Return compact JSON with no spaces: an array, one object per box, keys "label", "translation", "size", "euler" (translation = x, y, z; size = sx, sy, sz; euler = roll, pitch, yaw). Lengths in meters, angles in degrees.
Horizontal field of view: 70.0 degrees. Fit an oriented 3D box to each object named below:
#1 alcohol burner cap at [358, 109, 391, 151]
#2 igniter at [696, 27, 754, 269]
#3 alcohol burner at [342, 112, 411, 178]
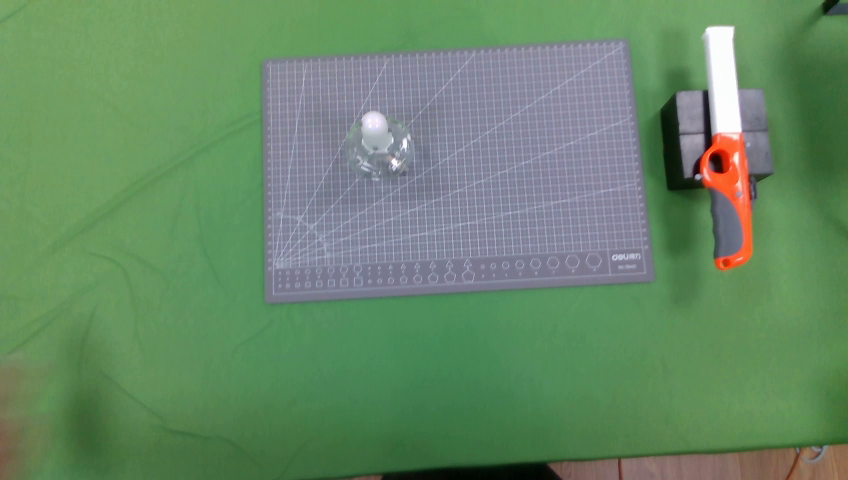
[{"label":"alcohol burner cap","translation":[-0.054,-0.117,0.635],"size":[0.034,0.048,0.033],"euler":[-1,74,3]},{"label":"igniter","translation":[0.327,-0.105,0.665],"size":[0.057,0.025,0.275],"euler":[1,79,4]},{"label":"alcohol burner","translation":[-0.053,-0.111,0.670],"size":[0.078,0.119,0.077],"euler":[0,79,-1]}]
